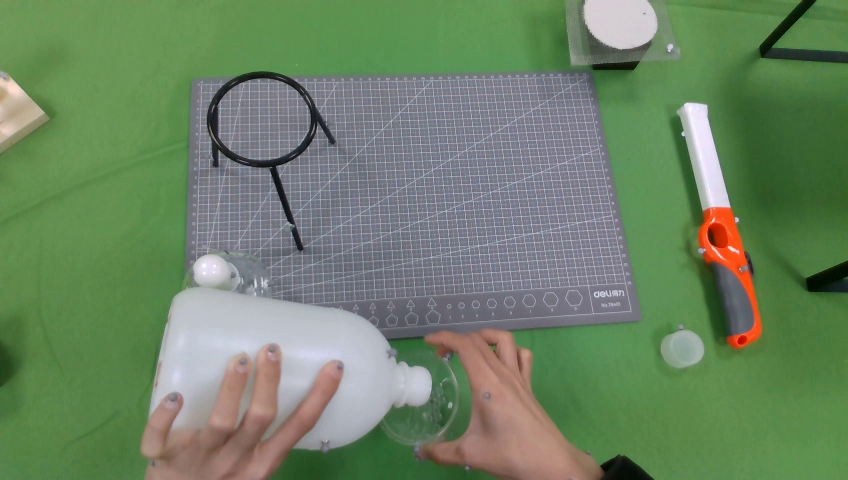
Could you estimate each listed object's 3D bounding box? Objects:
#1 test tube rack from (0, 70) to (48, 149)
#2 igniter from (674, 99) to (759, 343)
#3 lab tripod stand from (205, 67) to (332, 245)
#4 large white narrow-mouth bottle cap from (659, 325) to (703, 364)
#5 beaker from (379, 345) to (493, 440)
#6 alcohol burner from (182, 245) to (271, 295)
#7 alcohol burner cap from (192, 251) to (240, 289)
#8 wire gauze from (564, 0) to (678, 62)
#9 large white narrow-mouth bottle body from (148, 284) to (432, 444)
[{"bbox_3d":[-0.491,-0.085,0.557,0.066,0.085,0.242,44,73,9],"label":"test tube rack"},{"bbox_3d":[0.314,-0.027,0.653,0.057,0.025,0.274,1,72,-17],"label":"igniter"},{"bbox_3d":[-0.139,-0.082,0.565,0.149,0.132,0.147,2,72,-7],"label":"lab tripod stand"},{"bbox_3d":[0.257,0.105,0.608,0.038,0.024,0.037,2,71,-4],"label":"large white narrow-mouth bottle cap"},{"bbox_3d":[0.010,0.135,0.523,0.083,0.101,0.073,5,74,28],"label":"beaker"},{"bbox_3d":[-0.176,0.036,0.532,0.078,0.119,0.077,3,70,-7],"label":"alcohol burner"},{"bbox_3d":[-0.173,0.026,0.498,0.034,0.048,0.033,1,76,-5],"label":"alcohol burner cap"},{"bbox_3d":[0.214,-0.254,0.677,0.122,0.011,0.124,-1,72,-6],"label":"wire gauze"},{"bbox_3d":[-0.087,0.095,0.440,0.196,0.102,0.101,12,69,-23],"label":"large white narrow-mouth bottle body"}]
